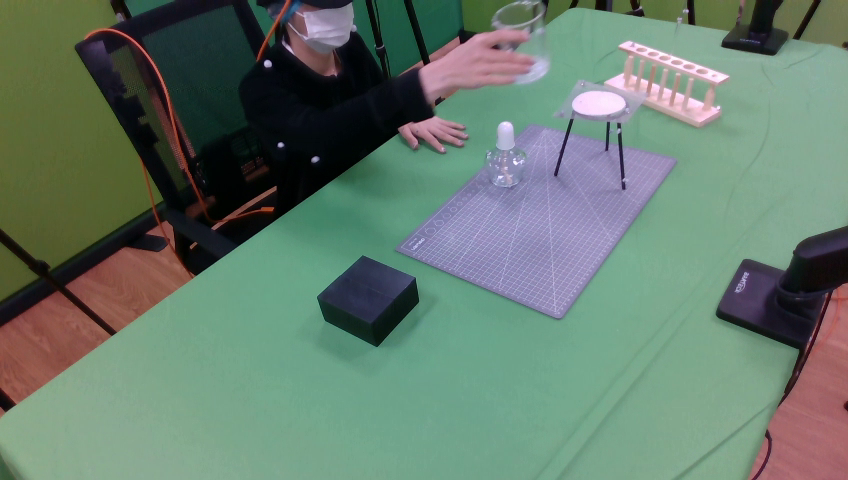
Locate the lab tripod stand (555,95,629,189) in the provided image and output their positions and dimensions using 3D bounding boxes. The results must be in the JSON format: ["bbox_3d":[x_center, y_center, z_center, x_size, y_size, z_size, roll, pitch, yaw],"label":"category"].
[{"bbox_3d":[0.301,-0.174,1.045,0.148,0.132,0.147,-5,38,5],"label":"lab tripod stand"}]

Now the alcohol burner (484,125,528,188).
[{"bbox_3d":[0.144,-0.152,1.059,0.078,0.119,0.077,-3,41,3],"label":"alcohol burner"}]

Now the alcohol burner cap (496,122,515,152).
[{"bbox_3d":[0.139,-0.179,1.037,0.034,0.048,0.033,-4,44,4],"label":"alcohol burner cap"}]

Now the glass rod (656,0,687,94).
[{"bbox_3d":[0.491,-0.381,1.199,0.008,0.200,0.008,1,41,0],"label":"glass rod"}]

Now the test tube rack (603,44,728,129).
[{"bbox_3d":[0.480,-0.316,1.227,0.067,0.085,0.240,-28,44,-22],"label":"test tube rack"}]

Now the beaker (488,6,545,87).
[{"bbox_3d":[0.145,-0.293,0.919,0.073,0.101,0.084,11,51,29],"label":"beaker"}]

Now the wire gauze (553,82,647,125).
[{"bbox_3d":[0.293,-0.225,1.002,0.120,0.011,0.125,17,45,27],"label":"wire gauze"}]
